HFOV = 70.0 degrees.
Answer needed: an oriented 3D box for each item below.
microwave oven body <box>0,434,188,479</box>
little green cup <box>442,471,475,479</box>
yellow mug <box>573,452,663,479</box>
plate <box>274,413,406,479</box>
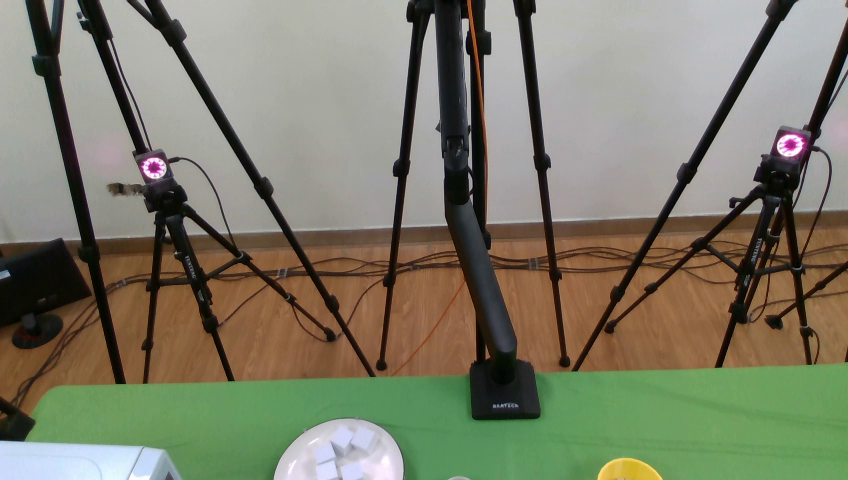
[{"bbox_3d":[-0.491,0.479,0.683,0.326,0.262,0.437,1,40,5],"label":"microwave oven body"},{"bbox_3d":[0.053,0.392,0.928,0.061,0.039,0.061,-3,39,2],"label":"little green cup"},{"bbox_3d":[0.287,0.376,0.906,0.130,0.064,0.099,5,40,12],"label":"yellow mug"},{"bbox_3d":[-0.131,0.373,0.966,0.207,0.039,0.205,-2,39,2],"label":"plate"}]
